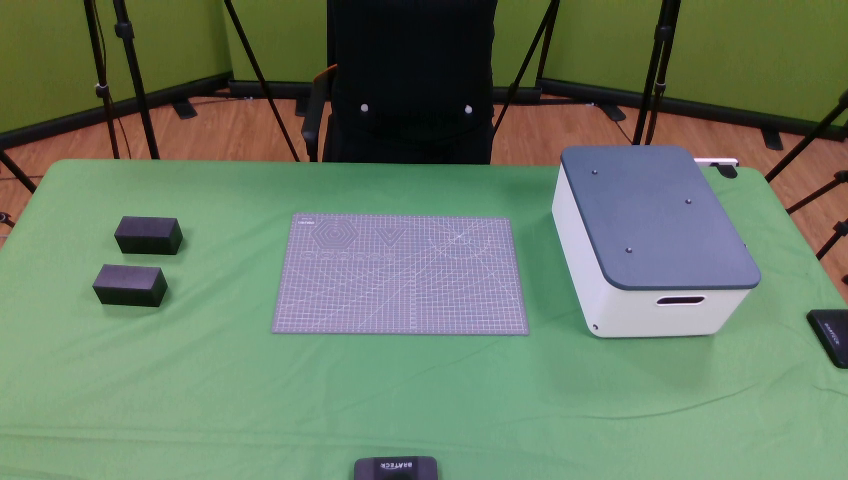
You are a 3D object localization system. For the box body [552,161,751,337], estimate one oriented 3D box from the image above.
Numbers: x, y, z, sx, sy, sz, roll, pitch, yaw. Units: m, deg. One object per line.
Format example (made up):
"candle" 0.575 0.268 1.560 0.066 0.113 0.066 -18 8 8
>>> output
"box body" 0.401 -0.001 1.131 0.254 0.161 0.361 -1 46 -5

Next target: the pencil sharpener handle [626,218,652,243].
"pencil sharpener handle" 0.409 -0.025 1.165 0.036 0.068 0.030 7 45 -11

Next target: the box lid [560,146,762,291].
"box lid" 0.404 -0.052 1.076 0.263 0.015 0.369 -1 45 -5

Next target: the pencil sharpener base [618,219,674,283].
"pencil sharpener base" 0.413 0.020 1.139 0.061 0.107 0.076 0 46 -3
